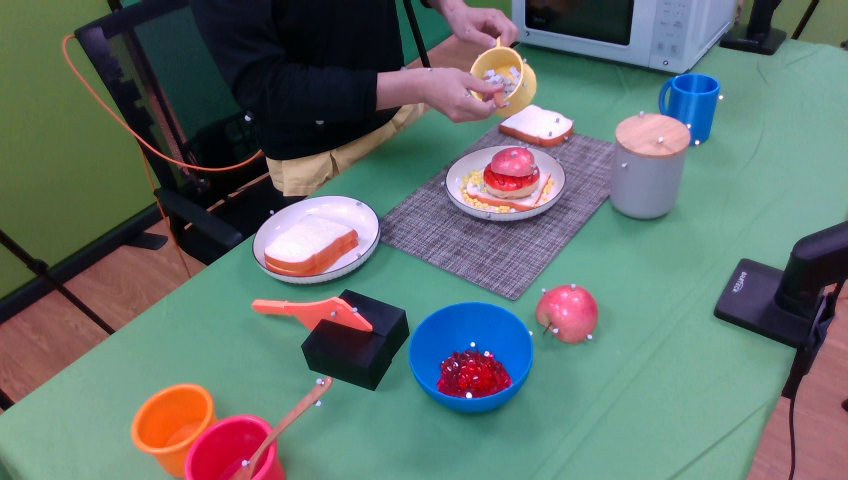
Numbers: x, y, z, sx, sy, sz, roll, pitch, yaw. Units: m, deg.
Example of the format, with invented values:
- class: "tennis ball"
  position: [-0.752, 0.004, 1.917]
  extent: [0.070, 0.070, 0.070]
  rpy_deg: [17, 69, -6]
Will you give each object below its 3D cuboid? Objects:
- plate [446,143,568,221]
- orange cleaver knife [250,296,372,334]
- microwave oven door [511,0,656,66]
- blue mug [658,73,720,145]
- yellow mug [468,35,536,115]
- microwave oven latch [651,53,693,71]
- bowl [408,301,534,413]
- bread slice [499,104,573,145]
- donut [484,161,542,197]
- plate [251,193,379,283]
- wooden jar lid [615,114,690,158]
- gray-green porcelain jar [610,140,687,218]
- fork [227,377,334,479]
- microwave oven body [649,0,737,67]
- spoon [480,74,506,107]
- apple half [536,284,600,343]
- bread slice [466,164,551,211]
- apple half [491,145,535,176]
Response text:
- class: "plate"
  position: [0.142, -0.097, 1.045]
  extent: [0.207, 0.039, 0.206]
  rpy_deg: [-4, 40, 4]
- class: "orange cleaver knife"
  position: [-0.159, 0.103, 0.828]
  extent: [0.210, 0.078, 0.012]
  rpy_deg: [-4, 43, 39]
- class: "microwave oven door"
  position: [0.350, -0.539, 1.348]
  extent: [0.353, 0.245, 0.039]
  rpy_deg: [24, 50, 31]
- class: "blue mug"
  position: [0.483, -0.250, 1.127]
  extent: [0.082, 0.106, 0.115]
  rpy_deg: [-26, 44, -19]
- class: "yellow mug"
  position: [0.134, -0.288, 1.037]
  extent: [0.099, 0.064, 0.130]
  rpy_deg: [-3, 80, 28]
- class: "microwave oven latch"
  position: [0.532, -0.386, 1.301]
  extent: [0.078, 0.029, 0.030]
  rpy_deg: [27, 52, 34]
- class: "bowl"
  position: [0.060, 0.156, 0.739]
  extent: [0.151, 0.077, 0.150]
  rpy_deg: [-4, 40, 4]
- class: "bread slice"
  position: [0.231, -0.231, 1.205]
  extent: [0.105, 0.019, 0.130]
  rpy_deg: [-37, 47, -28]
- class: "donut"
  position: [0.149, -0.109, 1.016]
  extent: [0.099, 0.048, 0.098]
  rpy_deg: [-4, 40, 4]
- class: "plate"
  position: [-0.174, -0.001, 0.985]
  extent: [0.209, 0.038, 0.208]
  rpy_deg: [-4, 41, 4]
- class: "wooden jar lid"
  position: [0.347, -0.155, 0.923]
  extent: [0.108, 0.021, 0.108]
  rpy_deg: [-3, 44, 4]
- class: "gray-green porcelain jar"
  position: [0.354, -0.106, 0.964]
  extent: [0.106, 0.127, 0.105]
  rpy_deg: [-4, 41, 4]
- class: "fork"
  position: [-0.162, 0.216, 0.647]
  extent: [0.207, 0.019, 0.028]
  rpy_deg: [-49, 41, 16]
- class: "microwave oven body"
  position: [0.475, -0.602, 1.411]
  extent: [0.438, 0.261, 0.327]
  rpy_deg: [23, 50, 32]
- class: "spoon"
  position: [0.113, -0.240, 0.965]
  extent: [0.041, 0.022, 0.193]
  rpy_deg: [-8, 23, 5]
- class: "apple half"
  position: [0.196, 0.091, 0.815]
  extent: [0.075, 0.053, 0.080]
  rpy_deg: [-22, 42, -20]
- class: "bread slice"
  position: [0.141, -0.092, 1.043]
  extent: [0.133, 0.018, 0.107]
  rpy_deg: [11, 44, 18]
- class: "apple half"
  position: [0.147, -0.139, 0.994]
  extent: [0.081, 0.033, 0.081]
  rpy_deg: [1, 38, 0]
